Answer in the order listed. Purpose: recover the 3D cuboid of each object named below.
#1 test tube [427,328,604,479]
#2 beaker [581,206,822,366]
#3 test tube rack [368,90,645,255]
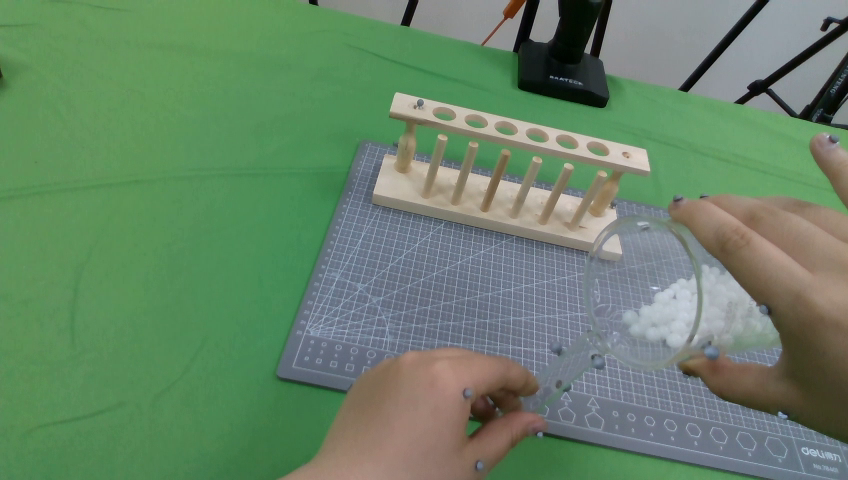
[{"bbox_3d":[0.048,0.102,0.352,0.017,0.150,0.017,29,30,-18],"label":"test tube"},{"bbox_3d":[0.142,0.024,0.312,0.101,0.084,0.073,-1,47,-26],"label":"beaker"},{"bbox_3d":[0.076,-0.062,0.574,0.242,0.086,0.066,13,44,-3],"label":"test tube rack"}]
